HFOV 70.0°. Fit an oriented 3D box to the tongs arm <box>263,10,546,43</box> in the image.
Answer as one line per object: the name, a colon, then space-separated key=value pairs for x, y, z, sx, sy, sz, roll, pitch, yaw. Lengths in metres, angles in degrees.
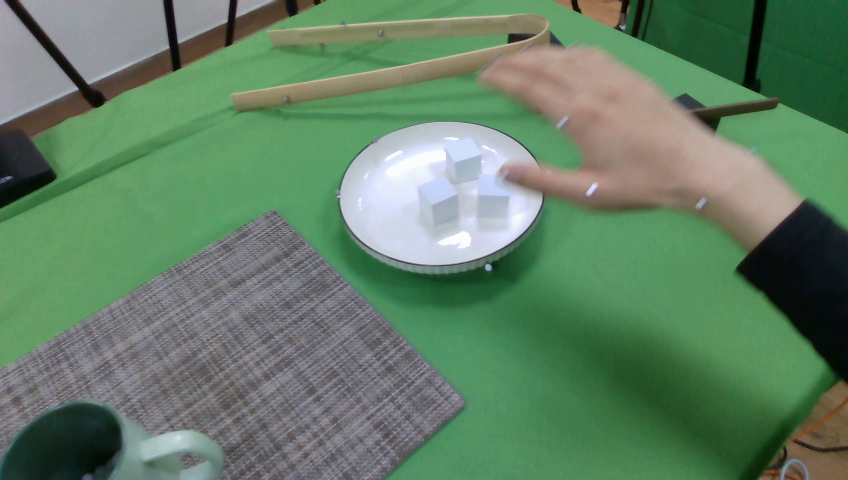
tongs arm: x=-0.039 y=-0.262 z=0.769 sx=0.383 sy=0.027 sz=0.050 roll=2 pitch=49 yaw=17

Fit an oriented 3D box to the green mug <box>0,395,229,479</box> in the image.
green mug: x=-0.198 y=0.159 z=0.411 sx=0.125 sy=0.106 sz=0.091 roll=-16 pitch=50 yaw=-9

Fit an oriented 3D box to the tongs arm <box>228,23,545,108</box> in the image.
tongs arm: x=-0.050 y=-0.202 z=0.720 sx=0.387 sy=0.028 sz=0.028 roll=-8 pitch=43 yaw=9

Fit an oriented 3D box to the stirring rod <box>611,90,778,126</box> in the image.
stirring rod: x=0.275 y=-0.134 z=0.616 sx=0.176 sy=0.014 sz=0.005 roll=-9 pitch=49 yaw=-4

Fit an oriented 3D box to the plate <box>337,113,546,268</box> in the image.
plate: x=0.018 y=-0.051 z=0.618 sx=0.207 sy=0.039 sz=0.205 roll=-2 pitch=50 yaw=3
